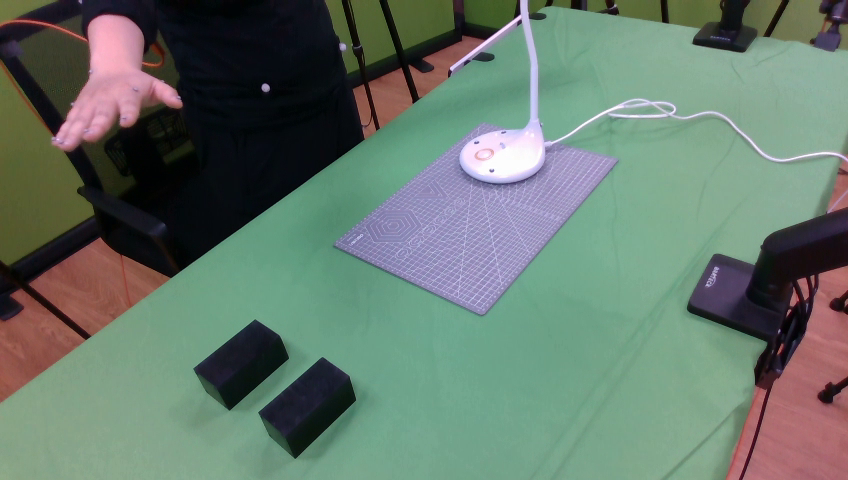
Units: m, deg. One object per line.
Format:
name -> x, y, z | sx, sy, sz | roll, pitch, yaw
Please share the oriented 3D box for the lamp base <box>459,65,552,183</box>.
lamp base -> 0.149, -0.218, 1.078 | 0.180, 0.181, 0.159 | -19, 41, -17
